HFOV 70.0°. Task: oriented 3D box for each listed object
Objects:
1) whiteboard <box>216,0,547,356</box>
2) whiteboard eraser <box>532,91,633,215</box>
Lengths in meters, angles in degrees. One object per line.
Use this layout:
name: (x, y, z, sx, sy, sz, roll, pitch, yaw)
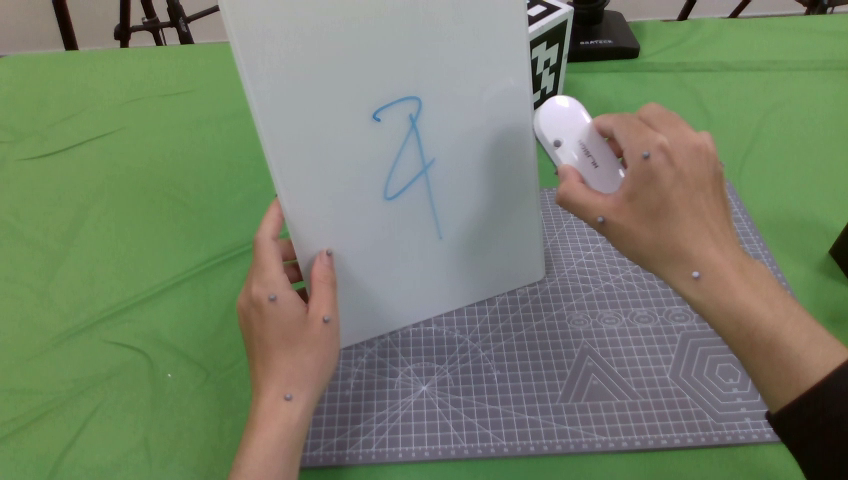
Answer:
whiteboard: (-0.031, -0.092, 0.529, 0.217, 0.308, 0.142, -18, 29, -13)
whiteboard eraser: (0.118, -0.065, 0.451, 0.041, 0.019, 0.101, -33, 89, -18)
